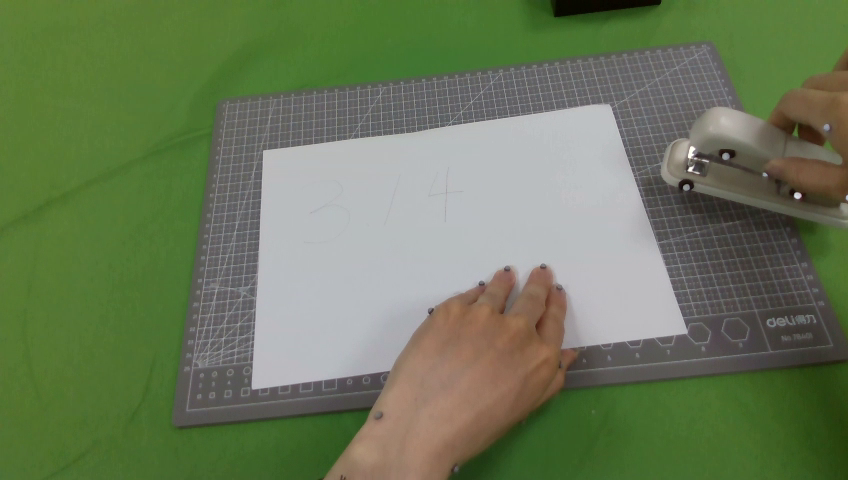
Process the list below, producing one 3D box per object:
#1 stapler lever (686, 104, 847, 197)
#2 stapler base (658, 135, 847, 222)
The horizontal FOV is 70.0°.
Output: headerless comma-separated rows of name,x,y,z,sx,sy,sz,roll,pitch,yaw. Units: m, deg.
stapler lever,0.236,-0.060,0.404,0.118,0.040,0.026,16,69,10
stapler base,0.236,-0.049,0.427,0.130,0.024,0.041,16,69,10
